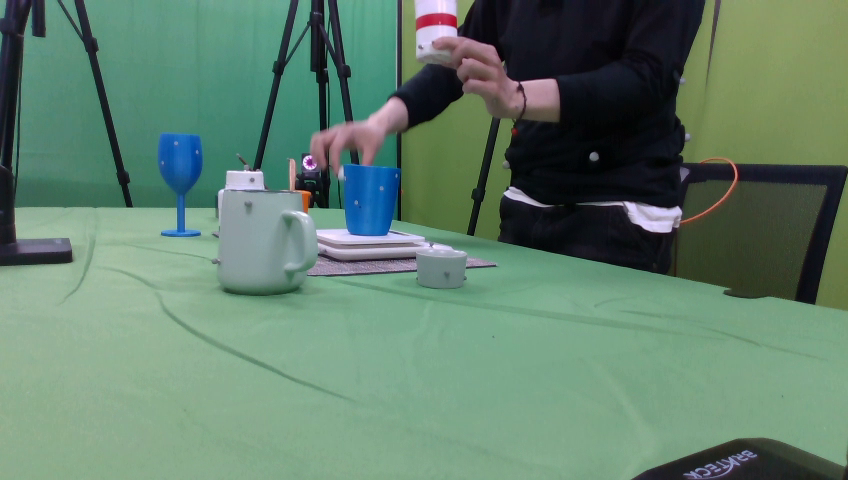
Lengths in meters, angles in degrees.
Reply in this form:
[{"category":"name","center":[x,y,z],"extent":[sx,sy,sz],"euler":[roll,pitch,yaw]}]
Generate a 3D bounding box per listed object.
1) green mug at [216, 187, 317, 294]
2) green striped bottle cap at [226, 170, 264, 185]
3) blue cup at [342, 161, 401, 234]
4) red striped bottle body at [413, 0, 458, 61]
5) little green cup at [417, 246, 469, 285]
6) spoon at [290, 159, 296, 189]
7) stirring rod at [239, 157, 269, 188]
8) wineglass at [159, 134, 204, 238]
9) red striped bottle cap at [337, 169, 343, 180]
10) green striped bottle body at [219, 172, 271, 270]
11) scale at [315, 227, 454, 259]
[{"category":"green mug","center":[-0.157,0.000,0.629],"extent":[0.124,0.105,0.093],"euler":[7,9,37]},{"category":"green striped bottle cap","center":[-0.222,-0.076,0.748],"extent":[0.044,0.020,0.044],"euler":[1,7,0]},{"category":"blue cup","center":[-0.079,-0.061,0.882],"extent":[0.093,0.100,0.092],"euler":[4,6,0]},{"category":"red striped bottle body","center":[0.017,-0.330,0.891],"extent":[0.063,0.119,0.063],"euler":[-3,2,0]},{"category":"little green cup","center":[0.021,0.029,0.701],"extent":[0.061,0.038,0.061],"euler":[1,6,0]},{"category":"spoon","center":[-0.273,-0.102,1.252],"extent":[0.042,0.193,0.021],"euler":[7,-38,-17]},{"category":"stirring rod","center":[-0.309,-0.098,1.209],"extent":[0.006,0.177,0.014],"euler":[-39,29,-4]},{"category":"wineglass","center":[-0.415,-0.093,1.040],"extent":[0.074,0.172,0.073],"euler":[2,7,0]},{"category":"red striped bottle cap","center":[-0.130,-0.115,1.054],"extent":[0.044,0.017,0.044],"euler":[-3,0,0]},{"category":"green striped bottle body","center":[-0.223,-0.025,0.755],"extent":[0.063,0.119,0.063],"euler":[2,7,0]},{"category":"scale","center":[-0.066,0.001,0.906],"extent":[0.202,0.031,0.148],"euler":[-2,8,-31]}]
